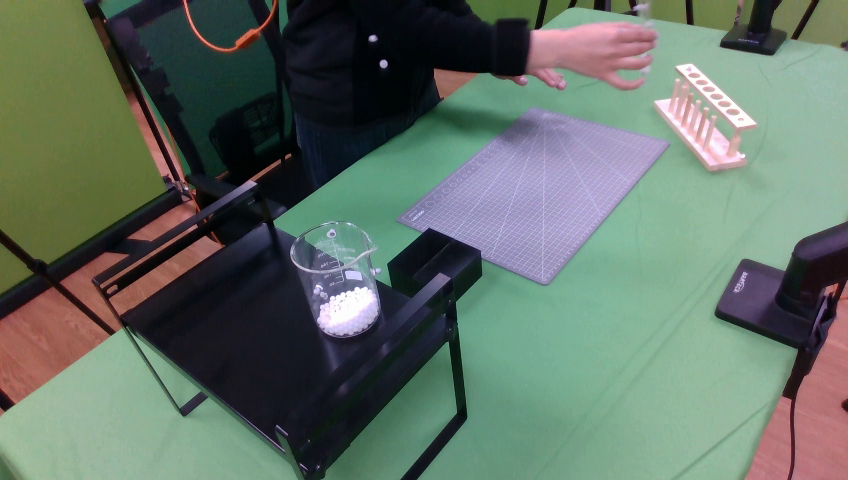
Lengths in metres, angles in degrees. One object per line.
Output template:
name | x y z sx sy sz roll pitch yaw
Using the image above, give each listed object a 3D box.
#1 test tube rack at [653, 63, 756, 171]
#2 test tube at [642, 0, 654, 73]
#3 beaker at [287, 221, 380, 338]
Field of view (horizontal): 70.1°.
test tube rack | 0.510 -0.233 1.120 0.067 0.085 0.241 -9 41 -1
test tube | 0.344 -0.309 0.929 0.017 0.151 0.017 -8 62 15
beaker | -0.082 0.042 0.602 0.084 0.101 0.073 -5 41 3
